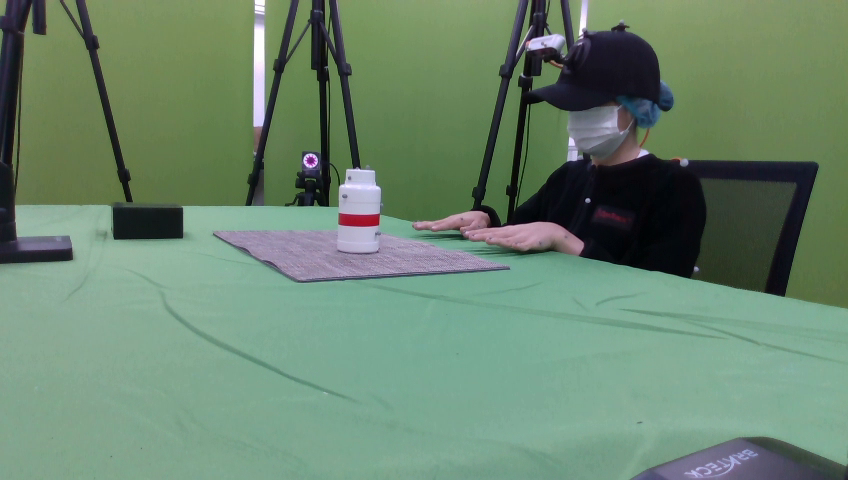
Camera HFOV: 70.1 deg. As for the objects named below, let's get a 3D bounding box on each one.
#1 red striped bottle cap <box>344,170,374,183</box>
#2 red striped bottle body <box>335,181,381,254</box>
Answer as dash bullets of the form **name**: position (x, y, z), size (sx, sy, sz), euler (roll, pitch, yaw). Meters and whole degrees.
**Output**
- **red striped bottle cap**: position (-0.094, -0.093, 0.887), size (0.044, 0.017, 0.044), euler (5, 5, 0)
- **red striped bottle body**: position (-0.097, -0.042, 0.894), size (0.063, 0.119, 0.063), euler (4, 8, 0)
